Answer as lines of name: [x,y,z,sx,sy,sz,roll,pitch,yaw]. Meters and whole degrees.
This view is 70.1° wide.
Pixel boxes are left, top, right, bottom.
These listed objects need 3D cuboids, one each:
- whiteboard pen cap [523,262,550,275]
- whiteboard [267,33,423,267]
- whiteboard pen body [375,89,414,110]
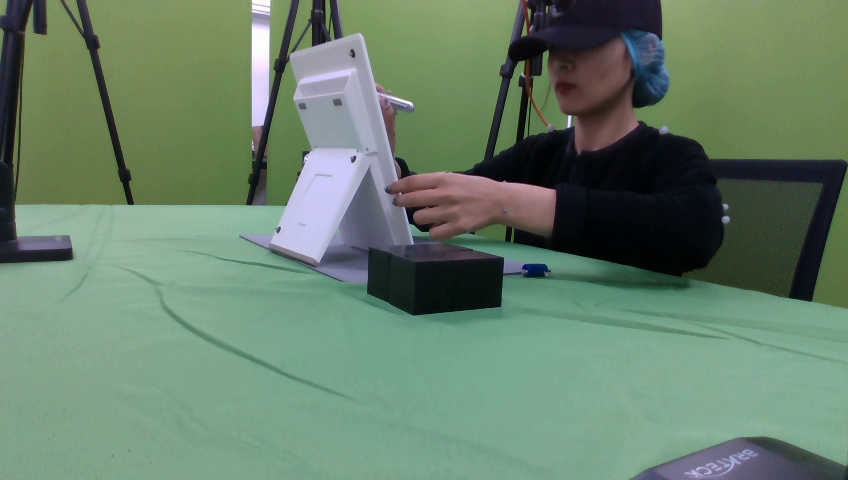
whiteboard pen cap: [0.145,0.037,0.776,0.033,0.018,0.018,1,6,-30]
whiteboard: [-0.153,-0.098,0.818,0.144,0.305,0.216,-25,21,-29]
whiteboard pen body: [-0.053,-0.199,0.851,0.017,0.017,0.141,6,5,29]
